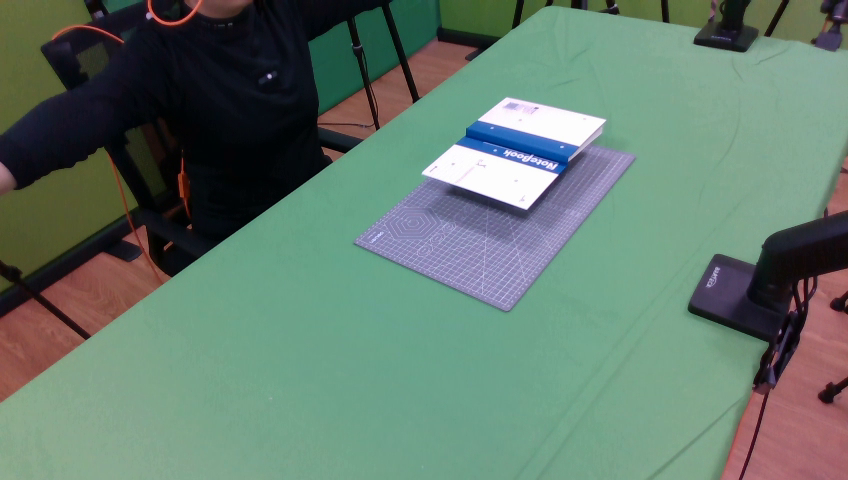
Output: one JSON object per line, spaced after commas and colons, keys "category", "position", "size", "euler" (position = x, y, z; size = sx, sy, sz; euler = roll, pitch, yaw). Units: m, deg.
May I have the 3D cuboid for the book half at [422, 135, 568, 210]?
{"category": "book half", "position": [0.119, -0.121, 1.027], "size": [0.208, 0.007, 0.143], "euler": [22, 49, 30]}

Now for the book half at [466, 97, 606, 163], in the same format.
{"category": "book half", "position": [0.203, -0.207, 1.105], "size": [0.208, 0.016, 0.149], "euler": [22, 47, 31]}
